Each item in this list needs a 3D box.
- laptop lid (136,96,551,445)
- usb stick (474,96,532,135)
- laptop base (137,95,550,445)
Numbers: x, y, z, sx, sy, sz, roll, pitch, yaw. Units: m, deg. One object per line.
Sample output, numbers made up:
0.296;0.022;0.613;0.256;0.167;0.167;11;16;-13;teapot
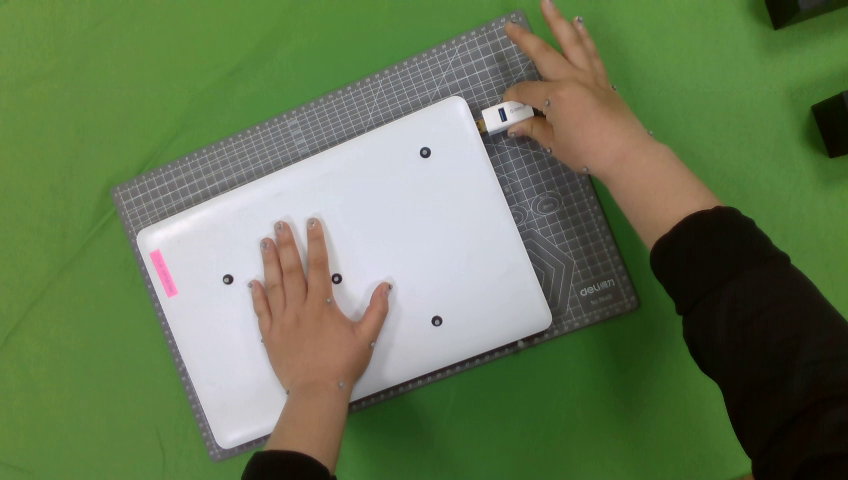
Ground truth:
-0.083;0.036;0.580;0.356;0.013;0.241;-21;92;7;laptop lid
0.068;-0.112;0.555;0.059;0.027;0.021;-15;87;9;usb stick
-0.083;0.034;0.589;0.354;0.023;0.235;-22;93;7;laptop base
